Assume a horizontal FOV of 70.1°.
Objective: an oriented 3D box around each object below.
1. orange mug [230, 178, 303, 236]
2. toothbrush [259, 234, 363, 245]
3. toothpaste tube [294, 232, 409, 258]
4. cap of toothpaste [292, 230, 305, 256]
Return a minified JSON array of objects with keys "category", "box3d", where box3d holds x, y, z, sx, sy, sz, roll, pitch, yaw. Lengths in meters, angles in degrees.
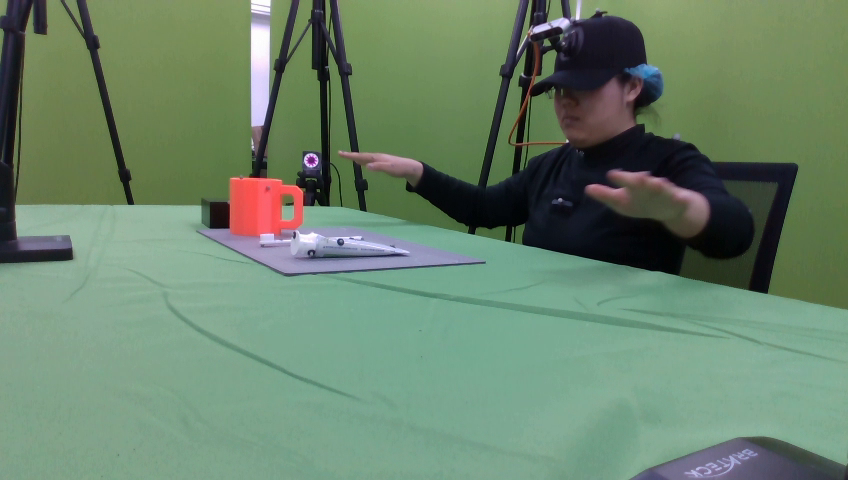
[{"category":"orange mug","box3d":[-0.275,-0.060,1.058,0.126,0.101,0.083,-2,8,-5]},{"category":"toothbrush","box3d":[-0.175,-0.002,0.958,0.183,0.016,0.014,-1,-5,-39]},{"category":"toothpaste tube","box3d":[-0.103,0.009,0.853,0.166,0.034,0.055,3,10,-34]},{"category":"cap of toothpaste","box3d":[-0.169,0.005,0.812,0.011,0.037,0.037,6,4,-30]}]
